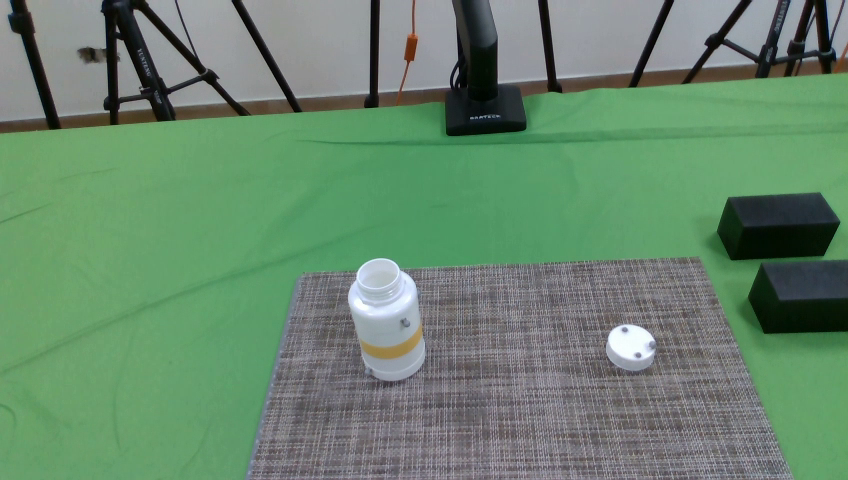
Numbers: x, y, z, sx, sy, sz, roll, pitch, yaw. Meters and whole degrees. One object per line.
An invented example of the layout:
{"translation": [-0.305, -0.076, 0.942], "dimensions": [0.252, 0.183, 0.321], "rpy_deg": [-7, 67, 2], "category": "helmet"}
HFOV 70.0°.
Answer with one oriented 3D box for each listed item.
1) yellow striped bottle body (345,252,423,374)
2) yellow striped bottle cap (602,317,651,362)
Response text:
{"translation": [-0.037, 0.066, 0.566], "dimensions": [0.063, 0.121, 0.062], "rpy_deg": [-3, 43, 4], "category": "yellow striped bottle body"}
{"translation": [0.195, 0.096, 0.584], "dimensions": [0.044, 0.019, 0.044], "rpy_deg": [-2, 43, 2], "category": "yellow striped bottle cap"}
